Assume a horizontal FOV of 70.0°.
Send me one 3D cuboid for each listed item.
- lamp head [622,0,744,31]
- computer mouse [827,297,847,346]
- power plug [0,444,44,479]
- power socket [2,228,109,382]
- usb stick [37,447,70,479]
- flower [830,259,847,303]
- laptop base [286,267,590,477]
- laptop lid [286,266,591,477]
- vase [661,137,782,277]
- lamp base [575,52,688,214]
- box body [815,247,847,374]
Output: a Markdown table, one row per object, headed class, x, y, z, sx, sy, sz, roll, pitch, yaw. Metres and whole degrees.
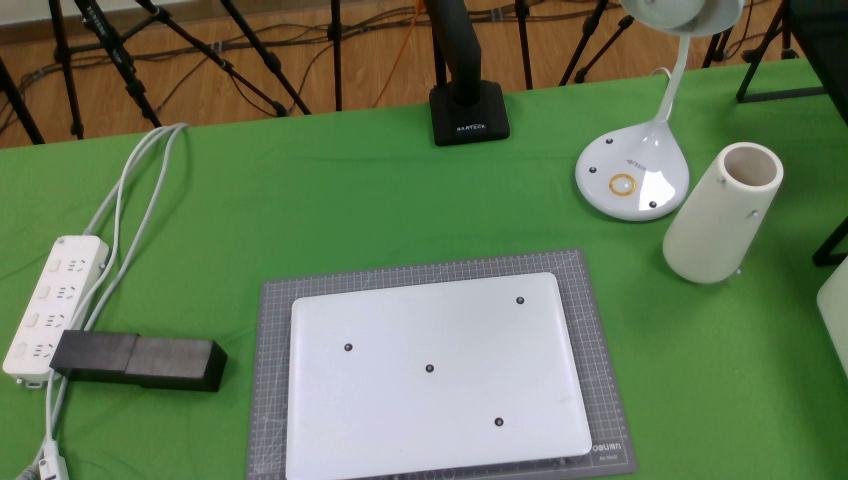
| class | x | y | z | sx | sy | sz | roll | pitch | yaw |
| --- | --- | --- | --- | --- | --- | --- | --- | --- | --- |
| lamp head | 0.247 | -0.268 | 0.548 | 0.112 | 0.113 | 0.122 | 21 | 80 | 16 |
| computer mouse | 0.541 | 0.115 | 0.722 | 0.063 | 0.041 | 0.116 | -12 | 51 | 2 |
| power plug | -0.483 | 0.280 | 0.714 | 0.052 | 0.035 | 0.072 | -15 | 18 | 21 |
| power socket | -0.498 | 0.080 | 0.827 | 0.072 | 0.033 | 0.224 | 1 | 58 | 4 |
| usb stick | -0.431 | 0.275 | 0.707 | 0.021 | 0.027 | 0.058 | -22 | 67 | -18 |
| flower | 0.544 | 0.186 | 0.663 | 0.044 | 0.038 | 0.358 | 10 | 58 | -44 |
| laptop base | 0.008 | 0.156 | 0.755 | 0.354 | 0.023 | 0.233 | -6 | 62 | 0 |
| laptop lid | 0.007 | 0.152 | 0.743 | 0.357 | 0.013 | 0.239 | -5 | 61 | 1 |
| vase | 0.358 | -0.036 | 0.740 | 0.098 | 0.202 | 0.097 | -3 | 58 | 5 |
| lamp base | 0.303 | -0.155 | 0.826 | 0.160 | 0.182 | 0.178 | 24 | 61 | 17 |
| box body | 0.618 | 0.152 | 0.629 | 0.254 | 0.162 | 0.360 | -5 | 59 | 2 |
